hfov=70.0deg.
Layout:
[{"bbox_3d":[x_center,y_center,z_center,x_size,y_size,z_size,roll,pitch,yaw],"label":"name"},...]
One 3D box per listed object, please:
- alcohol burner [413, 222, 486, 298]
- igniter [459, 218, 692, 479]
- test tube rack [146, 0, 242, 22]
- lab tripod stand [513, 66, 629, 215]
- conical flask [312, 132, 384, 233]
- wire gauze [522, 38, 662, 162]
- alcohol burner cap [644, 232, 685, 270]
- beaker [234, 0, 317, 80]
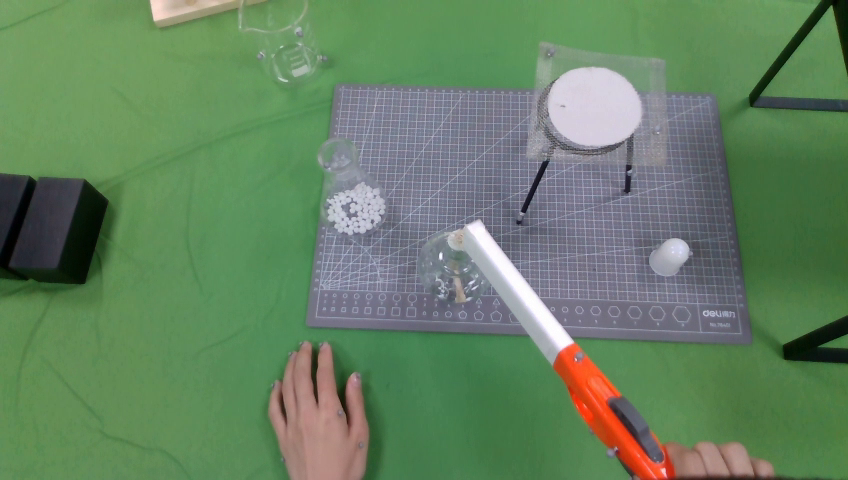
[{"bbox_3d":[0.029,0.013,0.584,0.078,0.120,0.077,0,67,0],"label":"alcohol burner"},{"bbox_3d":[0.107,0.090,0.442,0.025,0.057,0.274,-25,60,-19],"label":"igniter"},{"bbox_3d":[-0.237,-0.352,0.746,0.242,0.086,0.066,-17,70,-6],"label":"test tube rack"},{"bbox_3d":[0.149,-0.100,0.615,0.148,0.132,0.147,0,67,0],"label":"lab tripod stand"},{"bbox_3d":[-0.082,-0.062,0.609,0.075,0.122,0.075,0,68,1],"label":"conical flask"},{"bbox_3d":[0.156,-0.129,0.553,0.121,0.011,0.124,8,70,2],"label":"wire gauze"},{"bbox_3d":[0.249,0.009,0.621,0.034,0.048,0.033,0,69,2],"label":"alcohol burner cap"},{"bbox_3d":[-0.167,-0.238,0.694,0.084,0.101,0.073,-38,72,-12],"label":"beaker"}]
